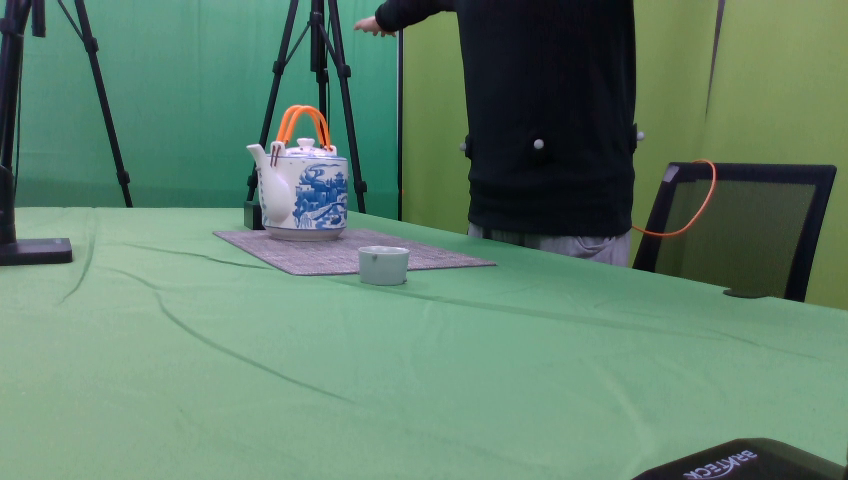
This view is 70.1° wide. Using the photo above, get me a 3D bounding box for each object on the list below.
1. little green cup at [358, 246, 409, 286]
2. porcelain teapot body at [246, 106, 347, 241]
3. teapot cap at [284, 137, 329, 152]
[{"bbox_3d":[-0.048,0.030,0.707,0.061,0.038,0.061,2,8,0],"label":"little green cup"},{"bbox_3d":[-0.219,-0.114,1.019,0.144,0.225,0.206,6,9,26],"label":"porcelain teapot body"},{"bbox_3d":[-0.205,-0.155,1.041,0.085,0.044,0.085,0,8,0],"label":"teapot cap"}]
